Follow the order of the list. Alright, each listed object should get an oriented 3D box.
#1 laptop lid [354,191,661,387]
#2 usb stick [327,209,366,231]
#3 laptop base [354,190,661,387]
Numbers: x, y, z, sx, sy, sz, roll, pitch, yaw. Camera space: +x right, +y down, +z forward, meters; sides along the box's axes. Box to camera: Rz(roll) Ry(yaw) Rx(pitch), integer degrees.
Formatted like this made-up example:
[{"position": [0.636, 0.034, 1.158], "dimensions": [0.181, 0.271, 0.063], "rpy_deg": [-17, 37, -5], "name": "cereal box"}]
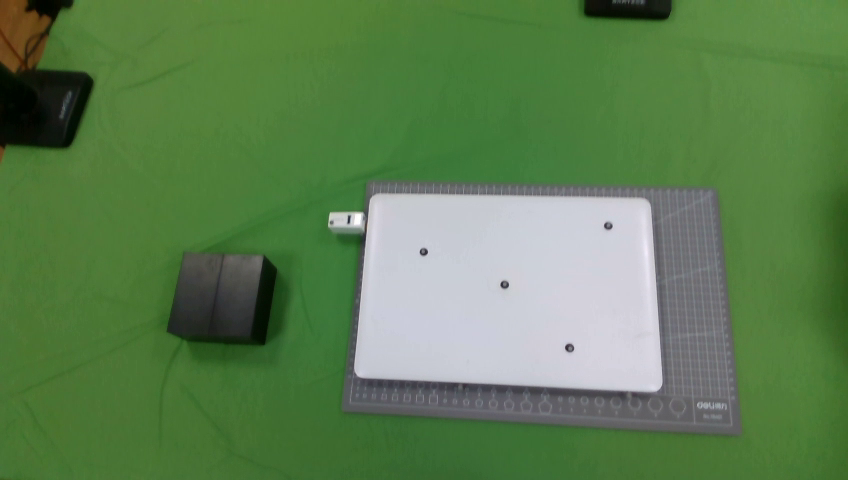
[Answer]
[{"position": [0.097, 0.051, 0.726], "dimensions": [0.356, 0.013, 0.240], "rpy_deg": [3, 72, 6], "name": "laptop lid"}, {"position": [-0.091, -0.025, 0.770], "dimensions": [0.059, 0.027, 0.021], "rpy_deg": [2, 70, 6], "name": "usb stick"}, {"position": [0.098, 0.053, 0.737], "dimensions": [0.354, 0.023, 0.234], "rpy_deg": [1, 73, 5], "name": "laptop base"}]
